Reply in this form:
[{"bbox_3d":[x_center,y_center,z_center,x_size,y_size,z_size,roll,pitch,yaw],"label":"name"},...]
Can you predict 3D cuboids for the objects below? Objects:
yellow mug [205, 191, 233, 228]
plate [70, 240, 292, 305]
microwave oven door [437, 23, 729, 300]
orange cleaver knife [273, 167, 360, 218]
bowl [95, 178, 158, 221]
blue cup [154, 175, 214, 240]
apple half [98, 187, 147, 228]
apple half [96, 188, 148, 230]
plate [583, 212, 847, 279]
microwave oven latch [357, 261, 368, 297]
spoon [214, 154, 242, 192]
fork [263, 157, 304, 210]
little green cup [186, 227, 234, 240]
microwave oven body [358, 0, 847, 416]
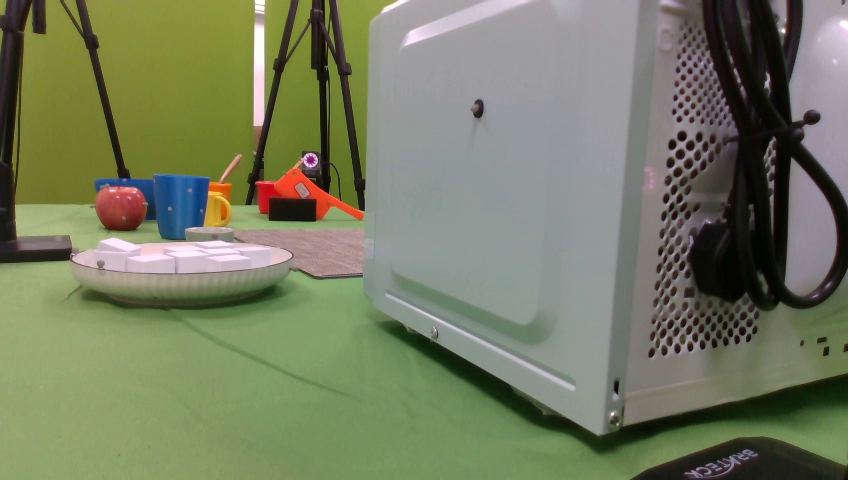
[{"bbox_3d":[-0.415,-0.057,1.132,0.130,0.064,0.100,6,8,16],"label":"yellow mug"},{"bbox_3d":[-0.242,0.031,0.618,0.208,0.039,0.207,2,8,0],"label":"plate"},{"bbox_3d":[0.181,-0.072,0.621,0.358,0.243,0.039,-2,8,-29],"label":"microwave oven door"},{"bbox_3d":[-0.238,-0.091,1.381,0.212,0.077,0.012,31,0,-19],"label":"orange cleaver knife"},{"bbox_3d":[-0.576,-0.081,1.217,0.151,0.077,0.151,3,8,0],"label":"bowl"},{"bbox_3d":[-0.390,-0.053,0.978,0.093,0.100,0.092,3,6,0],"label":"blue cup"},{"bbox_3d":[-0.534,-0.059,1.071,0.082,0.081,0.032,-1,11,-25],"label":"apple half"},{"bbox_3d":[-0.517,-0.052,1.036,0.081,0.074,0.053,2,10,-26],"label":"apple half"},{"bbox_3d":[0.239,0.001,0.510,0.209,0.038,0.209,2,7,0],"label":"plate"},{"bbox_3d":[-0.019,0.033,0.530,0.079,0.029,0.030,-1,7,-27],"label":"microwave oven latch"},{"bbox_3d":[-0.439,-0.124,1.317,0.041,0.193,0.022,5,-36,16],"label":"spoon"},{"bbox_3d":[-0.345,-0.143,1.505,0.028,0.019,0.207,-5,45,29],"label":"fork"},{"bbox_3d":[-0.284,0.005,0.805,0.061,0.038,0.061,2,8,0],"label":"little green cup"},{"bbox_3d":[0.211,-0.047,0.474,0.444,0.260,0.324,-1,7,-28],"label":"microwave oven body"}]
